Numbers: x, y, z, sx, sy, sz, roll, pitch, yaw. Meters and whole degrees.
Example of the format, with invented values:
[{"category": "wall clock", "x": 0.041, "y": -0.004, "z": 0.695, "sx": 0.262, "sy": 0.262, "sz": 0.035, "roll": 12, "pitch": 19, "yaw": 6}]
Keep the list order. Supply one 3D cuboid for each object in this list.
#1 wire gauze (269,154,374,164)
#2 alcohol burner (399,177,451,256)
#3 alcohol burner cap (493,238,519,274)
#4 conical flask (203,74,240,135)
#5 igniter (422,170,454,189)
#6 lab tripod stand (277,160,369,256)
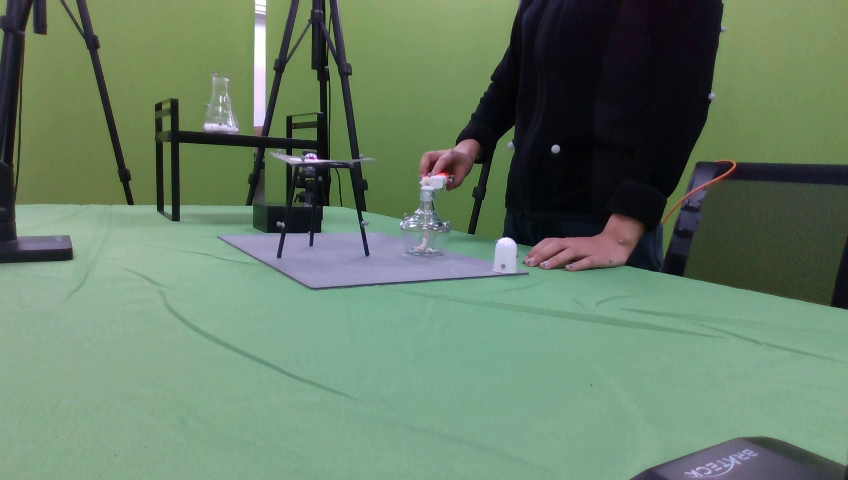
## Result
[{"category": "wire gauze", "x": -0.146, "y": -0.114, "z": 0.860, "sx": 0.122, "sy": 0.011, "sz": 0.124, "roll": -2, "pitch": 9, "yaw": -28}, {"category": "alcohol burner", "x": 0.003, "y": -0.035, "z": 0.908, "sx": 0.078, "sy": 0.119, "sz": 0.078, "roll": 4, "pitch": 8, "yaw": 0}, {"category": "alcohol burner cap", "x": 0.107, "y": 0.021, "z": 0.785, "sx": 0.034, "sy": 0.048, "sz": 0.034, "roll": 0, "pitch": 8, "yaw": 0}, {"category": "conical flask", "x": -0.425, "y": -0.284, "z": 1.271, "sx": 0.075, "sy": 0.122, "sz": 0.075, "roll": 3, "pitch": 7, "yaw": 0}, {"category": "igniter", "x": 0.024, "y": -0.108, "z": 1.065, "sx": 0.057, "sy": 0.025, "sz": 0.276, "roll": 1, "pitch": 9, "yaw": 4}, {"category": "lab tripod stand", "x": -0.150, "y": -0.046, "z": 0.861, "sx": 0.148, "sy": 0.131, "sz": 0.148, "roll": 3, "pitch": 9, "yaw": 0}]
